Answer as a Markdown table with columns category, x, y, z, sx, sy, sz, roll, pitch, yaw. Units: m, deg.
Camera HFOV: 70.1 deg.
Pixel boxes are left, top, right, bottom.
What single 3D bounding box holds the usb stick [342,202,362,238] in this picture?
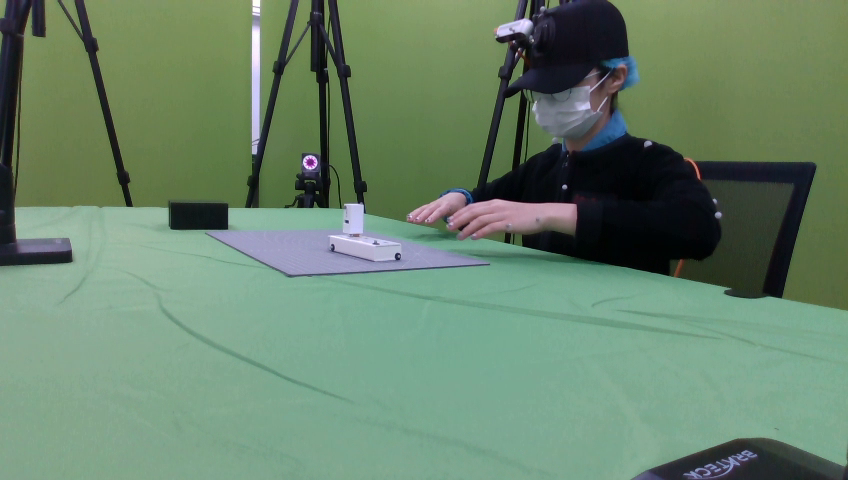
| category | x | y | z | sx | sy | sz | roll | pitch | yaw |
| --- | --- | --- | --- | --- | --- | --- | --- | --- | --- |
| usb stick | -0.109 | -0.027 | 0.914 | 0.027 | 0.059 | 0.021 | -8 | 13 | -42 |

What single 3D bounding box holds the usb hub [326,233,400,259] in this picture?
| category | x | y | z | sx | sy | sz | roll | pitch | yaw |
| --- | --- | --- | --- | --- | --- | --- | --- | --- | --- |
| usb hub | -0.092 | 0.008 | 0.892 | 0.050 | 0.025 | 0.124 | -5 | 9 | -40 |
